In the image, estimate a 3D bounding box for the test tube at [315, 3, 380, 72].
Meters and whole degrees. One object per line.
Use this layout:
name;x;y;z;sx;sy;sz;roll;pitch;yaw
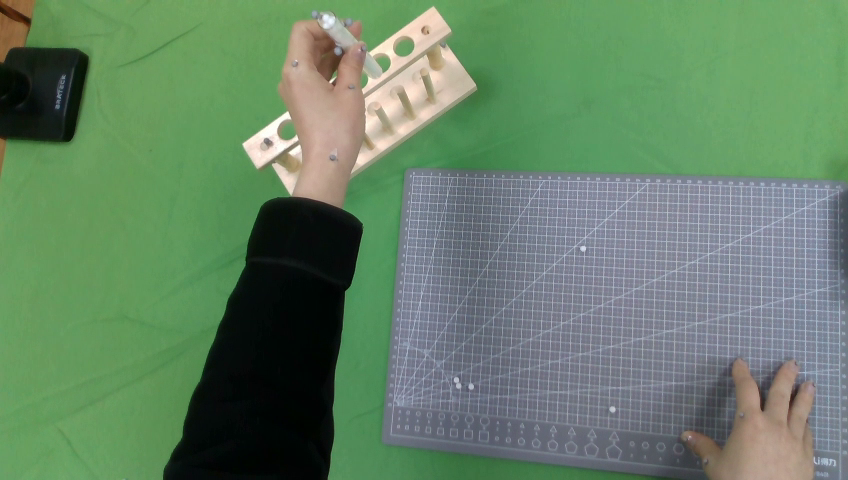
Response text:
test tube;-0.062;-0.169;0.520;0.017;0.150;0.017;0;91;9

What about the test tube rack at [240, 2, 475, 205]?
test tube rack;-0.067;-0.141;0.653;0.242;0.085;0.066;-34;77;4
